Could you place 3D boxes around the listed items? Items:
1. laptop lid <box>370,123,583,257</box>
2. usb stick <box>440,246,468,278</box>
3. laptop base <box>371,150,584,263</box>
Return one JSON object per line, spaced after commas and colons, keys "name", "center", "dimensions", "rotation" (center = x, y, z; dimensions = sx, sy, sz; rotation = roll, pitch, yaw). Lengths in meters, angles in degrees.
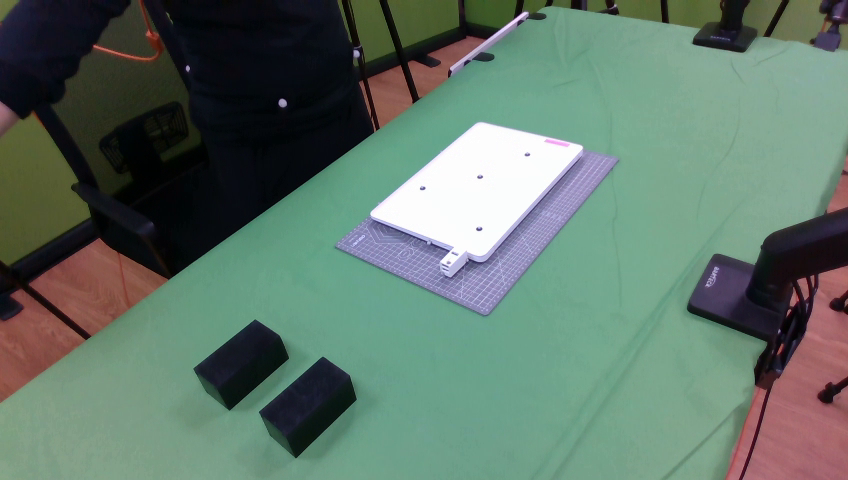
{"name": "laptop lid", "center": [0.099, -0.106, 1.064], "dimensions": [0.240, 0.013, 0.358], "rotation": [22, 48, 33]}
{"name": "usb stick", "center": [0.050, 0.029, 0.911], "dimensions": [0.021, 0.027, 0.059], "rotation": [24, 47, 32]}
{"name": "laptop base", "center": [0.102, -0.096, 1.070], "dimensions": [0.233, 0.023, 0.355], "rotation": [19, 47, 32]}
